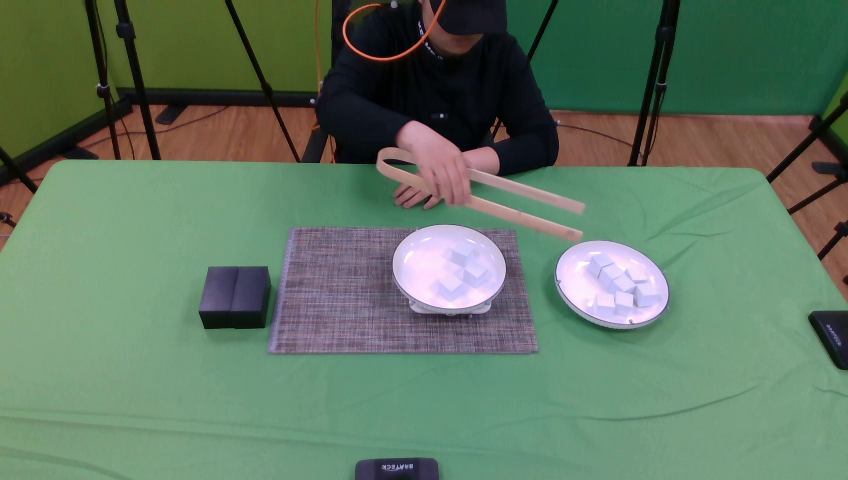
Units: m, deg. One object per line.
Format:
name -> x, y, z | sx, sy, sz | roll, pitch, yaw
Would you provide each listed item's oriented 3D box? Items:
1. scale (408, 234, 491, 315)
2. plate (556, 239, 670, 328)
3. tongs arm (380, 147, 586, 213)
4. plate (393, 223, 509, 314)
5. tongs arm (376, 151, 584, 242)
scale -> 0.045, 0.055, 1.135 | 0.149, 0.032, 0.199 | 1, 46, -3
plate -> 0.347, 0.083, 1.130 | 0.209, 0.038, 0.208 | 2, 47, -2
tongs arm -> 0.106, -0.108, 1.104 | 0.388, 0.028, 0.028 | 16, 48, -1
plate -> 0.048, 0.053, 1.092 | 0.208, 0.039, 0.206 | 1, 46, -1
tongs arm -> 0.095, -0.077, 1.070 | 0.385, 0.026, 0.050 | 17, 45, 1
